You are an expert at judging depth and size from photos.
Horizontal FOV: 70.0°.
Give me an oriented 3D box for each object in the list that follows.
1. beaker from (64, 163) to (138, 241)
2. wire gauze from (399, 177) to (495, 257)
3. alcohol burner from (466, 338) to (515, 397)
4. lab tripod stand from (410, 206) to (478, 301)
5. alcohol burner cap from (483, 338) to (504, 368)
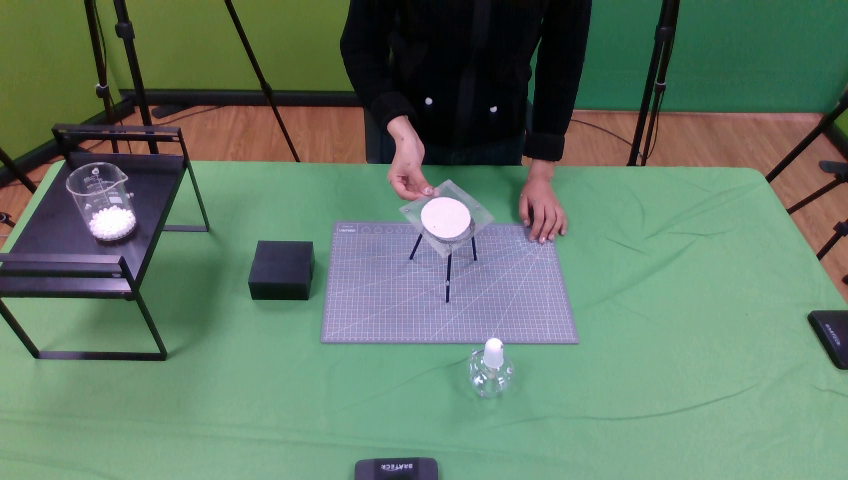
[{"bbox_3d":[-0.478,-0.055,0.910,0.084,0.101,0.073,-9,48,-13],"label":"beaker"},{"bbox_3d":[0.039,-0.044,1.039,0.121,0.011,0.124,-34,65,-23],"label":"wire gauze"},{"bbox_3d":[0.106,0.195,0.952,0.078,0.120,0.077,1,46,0],"label":"alcohol burner"},{"bbox_3d":[0.040,0.015,1.101,0.148,0.132,0.147,1,47,0],"label":"lab tripod stand"},{"bbox_3d":[0.108,0.170,0.928,0.034,0.048,0.033,-1,41,1],"label":"alcohol burner cap"}]
